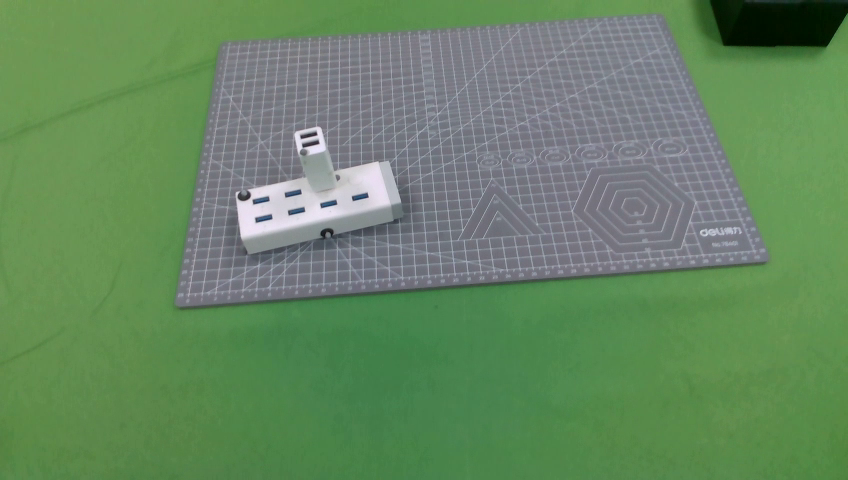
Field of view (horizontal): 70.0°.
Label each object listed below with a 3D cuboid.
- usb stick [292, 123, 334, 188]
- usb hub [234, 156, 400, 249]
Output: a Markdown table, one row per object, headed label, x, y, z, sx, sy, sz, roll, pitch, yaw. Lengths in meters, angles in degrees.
| label | x | y | z | sx | sy | sz | roll | pitch | yaw |
| --- | --- | --- | --- | --- | --- | --- | --- | --- | --- |
| usb stick | -0.084 | -0.060 | 0.467 | 0.021 | 0.059 | 0.027 | -15 | 57 | -6 |
| usb hub | -0.085 | -0.031 | 0.483 | 0.125 | 0.025 | 0.049 | -13 | 57 | -7 |
